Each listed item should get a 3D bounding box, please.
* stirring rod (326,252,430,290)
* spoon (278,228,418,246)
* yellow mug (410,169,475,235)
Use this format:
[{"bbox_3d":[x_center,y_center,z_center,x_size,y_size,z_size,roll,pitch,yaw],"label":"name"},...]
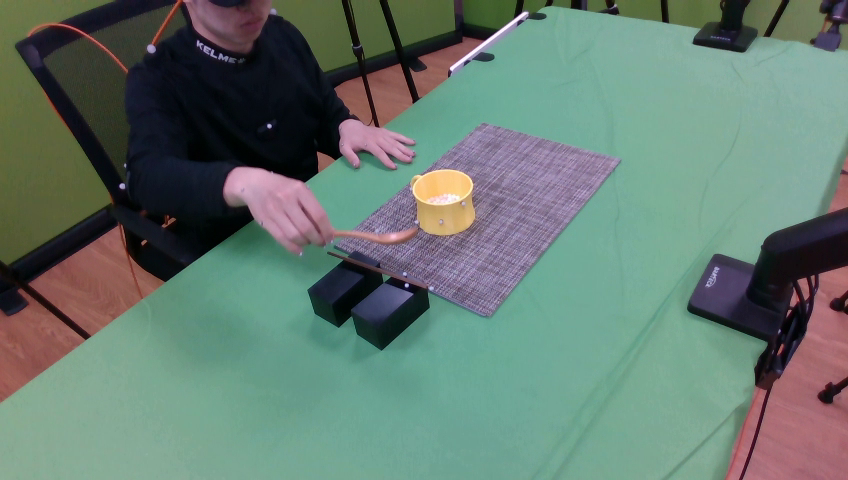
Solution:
[{"bbox_3d":[-0.068,0.043,0.859,0.175,0.006,0.014,17,11,26],"label":"stirring rod"},{"bbox_3d":[-0.103,-0.005,0.802,0.193,0.022,0.041,1,21,11],"label":"spoon"},{"bbox_3d":[0.022,-0.070,1.007,0.100,0.064,0.129,-36,47,-30],"label":"yellow mug"}]
